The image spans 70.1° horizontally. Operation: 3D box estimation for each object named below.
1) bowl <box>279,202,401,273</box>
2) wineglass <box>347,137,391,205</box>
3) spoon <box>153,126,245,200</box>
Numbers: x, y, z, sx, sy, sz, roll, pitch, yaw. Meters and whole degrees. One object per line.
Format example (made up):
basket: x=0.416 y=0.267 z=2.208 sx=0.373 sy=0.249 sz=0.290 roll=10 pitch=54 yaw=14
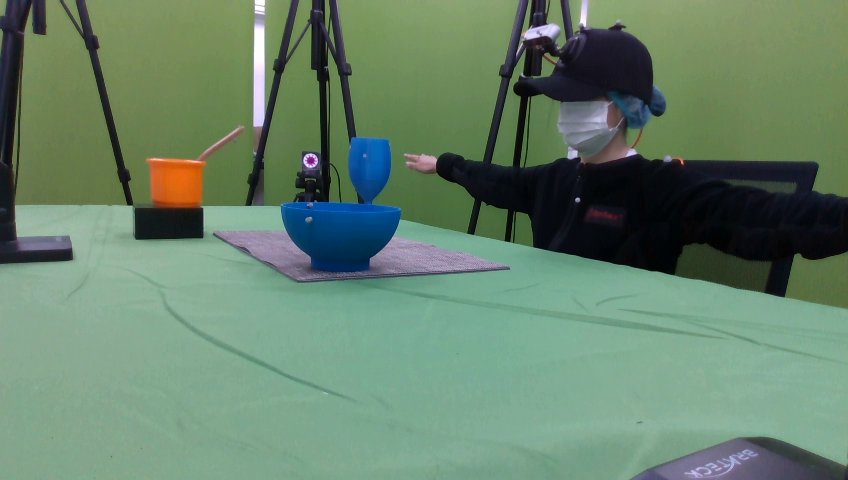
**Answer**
bowl: x=-0.105 y=-0.003 z=0.756 sx=0.151 sy=0.077 sz=0.151 roll=3 pitch=7 yaw=0
wineglass: x=-0.093 y=-0.081 z=0.996 sx=0.074 sy=0.172 sz=0.073 roll=3 pitch=7 yaw=0
spoon: x=-0.376 y=-0.131 z=1.017 sx=0.041 sy=0.194 sz=0.022 roll=13 pitch=-32 yaw=55
